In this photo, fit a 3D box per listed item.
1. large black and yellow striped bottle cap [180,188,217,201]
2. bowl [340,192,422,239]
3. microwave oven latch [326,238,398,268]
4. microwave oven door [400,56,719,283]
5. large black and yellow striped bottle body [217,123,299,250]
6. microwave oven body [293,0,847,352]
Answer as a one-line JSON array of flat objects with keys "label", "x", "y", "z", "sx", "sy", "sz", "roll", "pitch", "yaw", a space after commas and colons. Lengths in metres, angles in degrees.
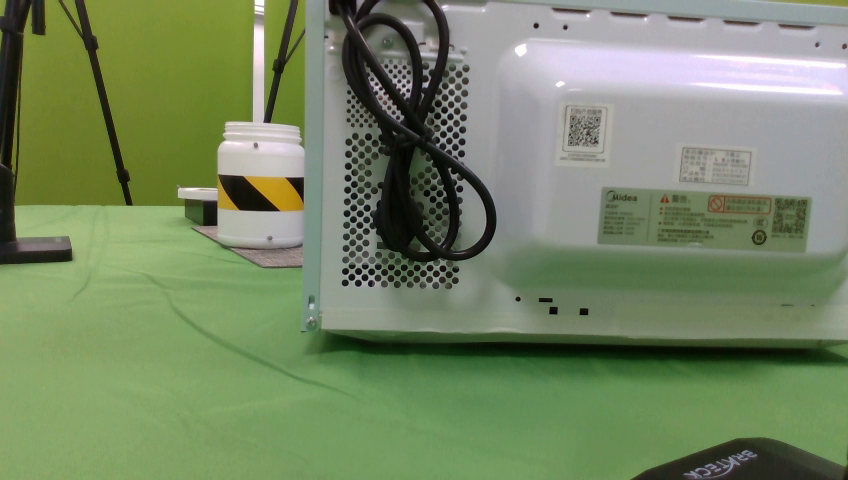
[{"label": "large black and yellow striped bottle cap", "x": -0.434, "y": -0.093, "z": 1.226, "sx": 0.115, "sy": 0.019, "sz": 0.115, "roll": 3, "pitch": 9, "yaw": 0}, {"label": "bowl", "x": -0.079, "y": -0.045, "z": 1.110, "sx": 0.151, "sy": 0.077, "sz": 0.151, "roll": 3, "pitch": 8, "yaw": 0}, {"label": "microwave oven latch", "x": -0.070, "y": 0.015, "z": 0.692, "sx": 0.079, "sy": 0.029, "sz": 0.030, "roll": 3, "pitch": 6, "yaw": 1}, {"label": "microwave oven door", "x": 0.155, "y": -0.078, "z": 0.698, "sx": 0.356, "sy": 0.243, "sz": 0.039, "roll": 2, "pitch": 8, "yaw": -5}, {"label": "large black and yellow striped bottle body", "x": -0.250, "y": -0.084, "z": 0.931, "sx": 0.131, "sy": 0.184, "sz": 0.130, "roll": 3, "pitch": 7, "yaw": 0}, {"label": "microwave oven body", "x": 0.122, "y": -0.055, "z": 0.550, "sx": 0.442, "sy": 0.260, "sz": 0.325, "roll": 3, "pitch": 7, "yaw": -5}]
